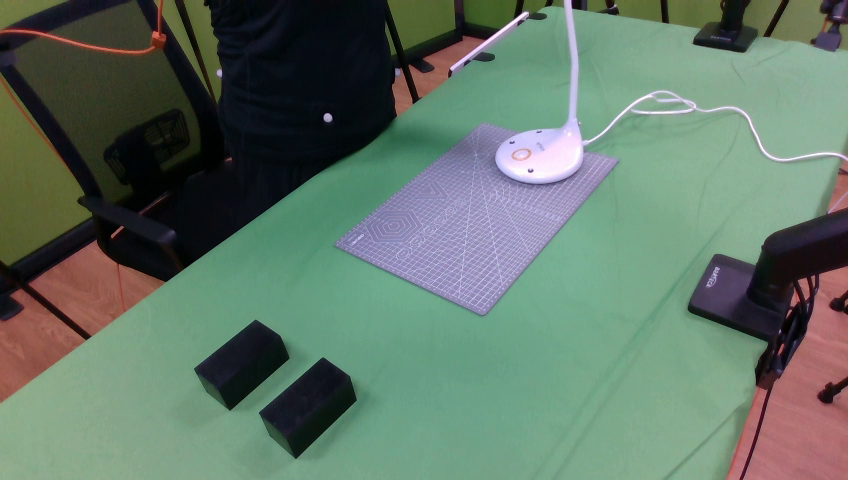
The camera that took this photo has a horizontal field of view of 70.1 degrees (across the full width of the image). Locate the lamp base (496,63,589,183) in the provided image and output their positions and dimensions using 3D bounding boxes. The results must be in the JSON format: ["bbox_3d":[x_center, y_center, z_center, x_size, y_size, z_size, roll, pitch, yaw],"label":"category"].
[{"bbox_3d":[0.216,-0.217,1.066,0.180,0.181,0.159,-19,42,-18],"label":"lamp base"}]
